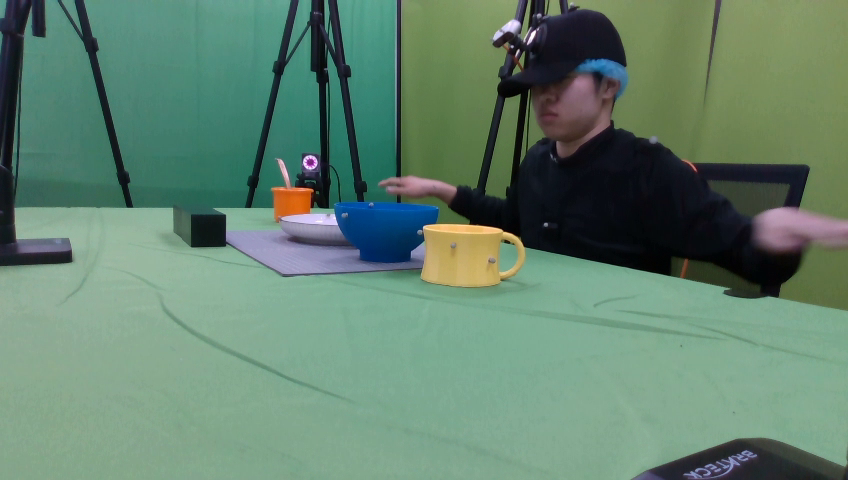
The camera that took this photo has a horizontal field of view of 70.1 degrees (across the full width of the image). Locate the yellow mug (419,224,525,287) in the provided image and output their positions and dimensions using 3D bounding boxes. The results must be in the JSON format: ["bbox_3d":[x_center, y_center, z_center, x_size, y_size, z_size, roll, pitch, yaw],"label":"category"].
[{"bbox_3d":[0.060,0.018,0.746,0.131,0.064,0.100,3,7,-7],"label":"yellow mug"}]

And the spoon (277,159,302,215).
[{"bbox_3d":[-0.308,-0.117,1.368,0.042,0.193,0.021,3,-39,-32],"label":"spoon"}]

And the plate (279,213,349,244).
[{"bbox_3d":[-0.147,-0.020,1.060,0.209,0.038,0.209,2,7,0],"label":"plate"}]

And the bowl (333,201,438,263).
[{"bbox_3d":[-0.057,-0.011,0.866,0.151,0.077,0.151,3,8,0],"label":"bowl"}]
